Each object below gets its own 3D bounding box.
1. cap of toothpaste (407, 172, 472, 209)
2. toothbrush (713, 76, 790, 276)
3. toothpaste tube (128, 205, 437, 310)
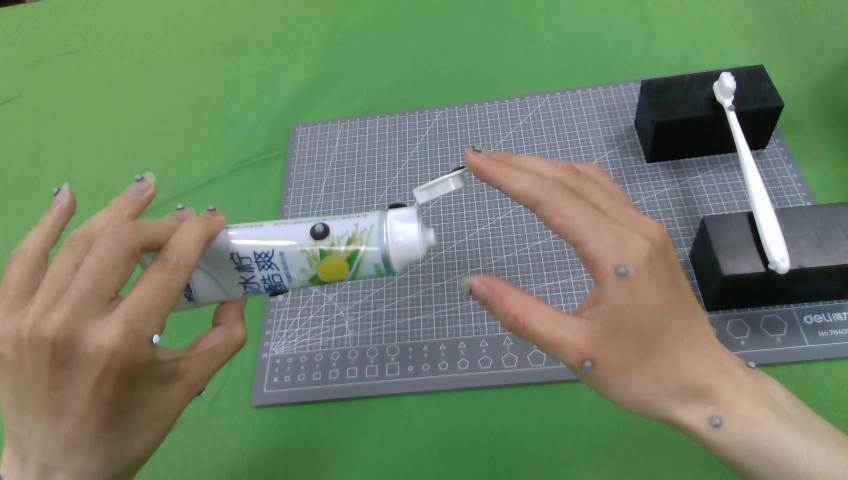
[{"bbox_3d":[0.009,-0.026,0.315,0.037,0.037,0.011,-23,91,-6],"label":"cap of toothpaste"},{"bbox_3d":[0.237,-0.054,0.441,0.014,0.017,0.180,3,57,0],"label":"toothbrush"},{"bbox_3d":[-0.075,0.006,0.328,0.165,0.055,0.034,-8,26,7],"label":"toothpaste tube"}]
